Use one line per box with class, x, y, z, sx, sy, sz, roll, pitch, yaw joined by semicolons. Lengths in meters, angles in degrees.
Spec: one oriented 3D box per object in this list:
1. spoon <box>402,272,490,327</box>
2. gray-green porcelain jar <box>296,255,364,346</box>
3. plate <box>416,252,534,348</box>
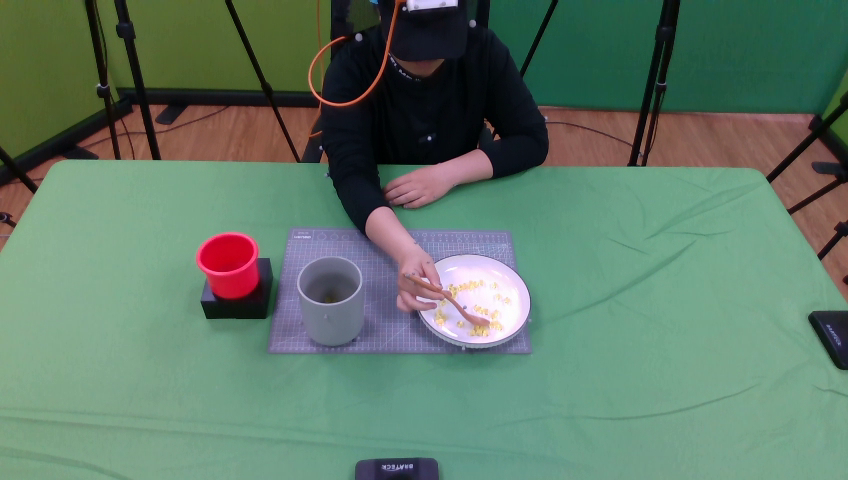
spoon;0.039;0.099;1.015;0.021;0.195;0.041;-52;26;1
gray-green porcelain jar;-0.153;0.106;1.008;0.106;0.127;0.105;2;46;-2
plate;0.090;0.109;1.084;0.208;0.039;0.206;2;46;-2
